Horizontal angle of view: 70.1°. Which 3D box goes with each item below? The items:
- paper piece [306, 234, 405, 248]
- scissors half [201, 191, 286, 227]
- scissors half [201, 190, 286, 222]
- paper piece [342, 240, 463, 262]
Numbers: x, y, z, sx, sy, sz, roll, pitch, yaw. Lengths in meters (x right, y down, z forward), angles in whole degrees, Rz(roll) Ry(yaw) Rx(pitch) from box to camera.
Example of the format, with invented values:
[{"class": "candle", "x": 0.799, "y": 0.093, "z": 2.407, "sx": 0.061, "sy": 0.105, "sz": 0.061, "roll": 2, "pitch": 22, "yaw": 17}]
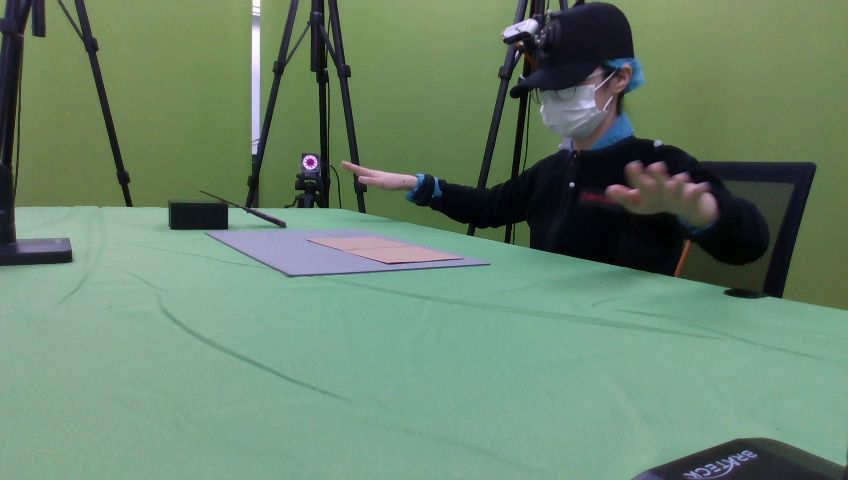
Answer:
[{"class": "paper piece", "x": -0.110, "y": 0.000, "z": 1.015, "sx": 0.136, "sy": 0.004, "sz": 0.135, "roll": -4, "pitch": 9, "yaw": -35}, {"class": "scissors half", "x": -0.358, "y": -0.064, "z": 1.206, "sx": 0.175, "sy": 0.013, "sz": 0.040, "roll": 22, "pitch": 1, "yaw": -10}, {"class": "scissors half", "x": -0.364, "y": -0.068, "z": 1.225, "sx": 0.176, "sy": 0.013, "sz": 0.040, "roll": 22, "pitch": 7, "yaw": -27}, {"class": "paper piece", "x": -0.033, "y": 0.017, "z": 0.908, "sx": 0.137, "sy": 0.008, "sz": 0.137, "roll": -7, "pitch": 12, "yaw": -34}]
